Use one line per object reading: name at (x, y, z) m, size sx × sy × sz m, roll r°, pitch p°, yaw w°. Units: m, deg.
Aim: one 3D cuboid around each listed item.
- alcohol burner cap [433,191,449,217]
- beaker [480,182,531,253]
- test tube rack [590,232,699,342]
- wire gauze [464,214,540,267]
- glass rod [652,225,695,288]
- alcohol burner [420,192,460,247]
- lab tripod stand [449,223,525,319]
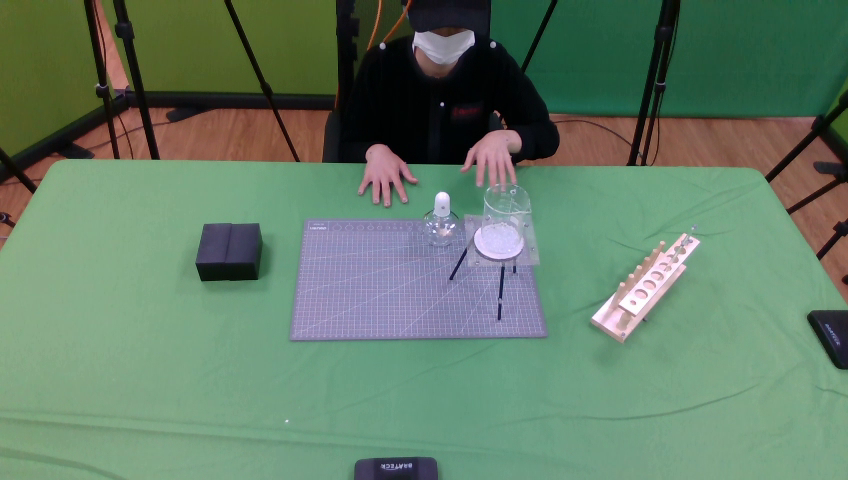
alcohol burner cap at (0.033, -0.070, 1.150) m, size 0.034 × 0.048 × 0.033 m, roll 0°, pitch 45°, yaw 0°
beaker at (0.133, -0.033, 0.998) m, size 0.083 × 0.101 × 0.074 m, roll 26°, pitch 51°, yaw 22°
test tube rack at (0.407, 0.074, 1.112) m, size 0.066 × 0.085 × 0.242 m, roll 35°, pitch 53°, yaw 26°
wire gauze at (0.131, -0.001, 1.035) m, size 0.121 × 0.011 × 0.124 m, roll 1°, pitch 44°, yaw -2°
glass rod at (0.432, 0.037, 1.057) m, size 0.008 × 0.200 × 0.008 m, roll 1°, pitch 54°, yaw -1°
alcohol burner at (0.032, -0.045, 1.176) m, size 0.078 × 0.120 × 0.077 m, roll 2°, pitch 44°, yaw -1°
lab tripod stand at (0.120, 0.046, 1.080) m, size 0.148 × 0.132 × 0.147 m, roll 1°, pitch 47°, yaw -1°
